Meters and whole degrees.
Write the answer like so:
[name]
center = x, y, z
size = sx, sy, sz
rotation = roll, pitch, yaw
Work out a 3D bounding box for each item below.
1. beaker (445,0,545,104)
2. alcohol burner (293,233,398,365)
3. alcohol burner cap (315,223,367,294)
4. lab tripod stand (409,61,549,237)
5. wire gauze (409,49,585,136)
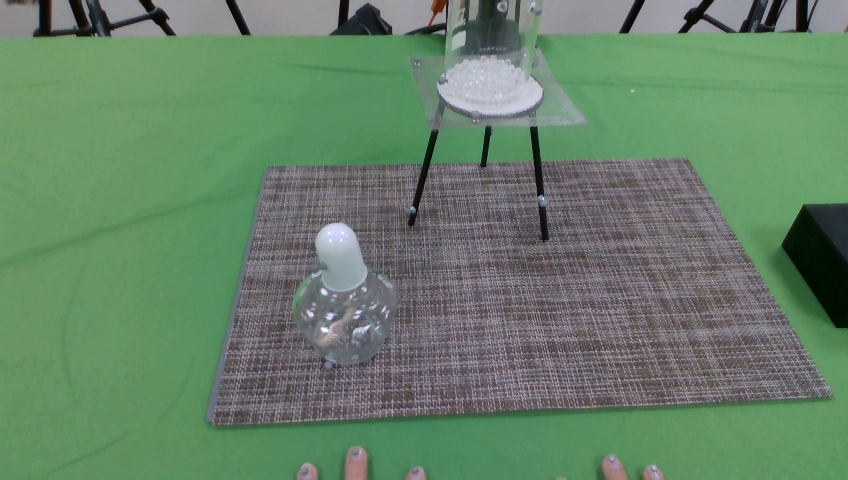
[beaker]
center = 0.055, -0.166, 0.469
size = 0.073, 0.101, 0.083
rotation = 24, 47, 20
[alcohol burner]
center = -0.057, 0.036, 0.436
size = 0.078, 0.120, 0.077
rotation = 2, 45, -1
[alcohol burner cap]
center = -0.059, 0.010, 0.411
size = 0.034, 0.048, 0.033
rotation = -3, 42, 3
[lab tripod stand]
center = 0.058, -0.080, 0.546
size = 0.148, 0.132, 0.147
rotation = 2, 43, -2
[wire gauze]
center = 0.056, -0.124, 0.497
size = 0.125, 0.011, 0.120
rotation = -2, 46, -10
